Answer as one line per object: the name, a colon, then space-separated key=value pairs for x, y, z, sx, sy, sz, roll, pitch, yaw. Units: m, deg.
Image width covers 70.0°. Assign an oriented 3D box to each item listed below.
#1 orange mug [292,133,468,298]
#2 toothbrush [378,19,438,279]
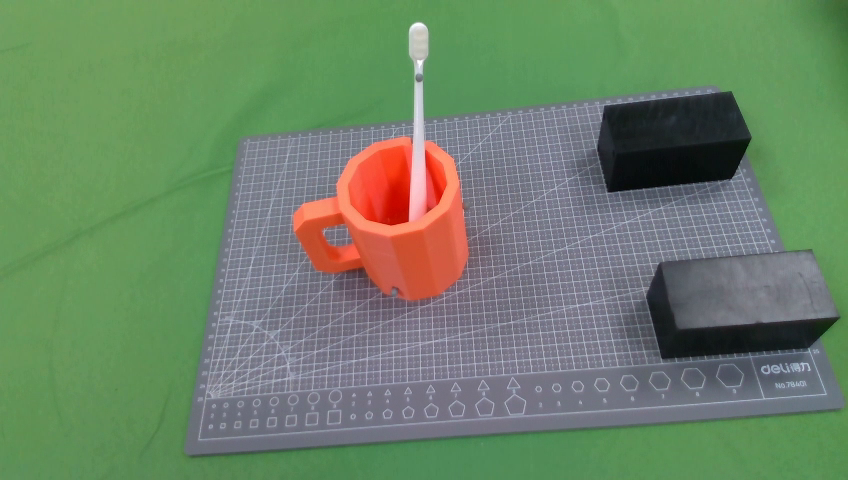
orange mug: x=-0.031 y=-0.013 z=0.453 sx=0.126 sy=0.102 sz=0.082 roll=-10 pitch=58 yaw=-3
toothbrush: x=-0.013 y=-0.057 z=0.420 sx=0.016 sy=0.182 sz=0.014 roll=23 pitch=21 yaw=35
